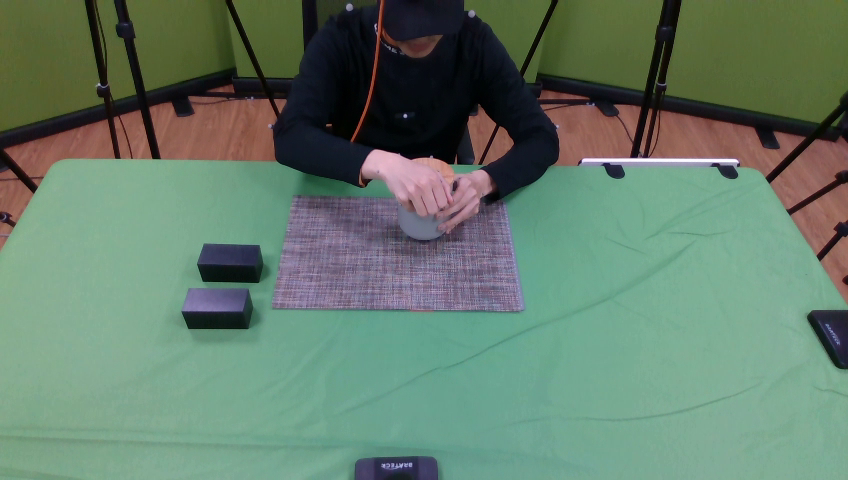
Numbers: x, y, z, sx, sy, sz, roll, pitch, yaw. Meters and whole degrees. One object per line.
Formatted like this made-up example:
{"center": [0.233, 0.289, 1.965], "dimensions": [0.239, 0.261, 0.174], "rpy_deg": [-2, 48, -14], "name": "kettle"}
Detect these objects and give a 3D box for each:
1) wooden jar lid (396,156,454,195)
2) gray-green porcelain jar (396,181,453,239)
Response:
{"center": [0.001, -0.116, 1.117], "dimensions": [0.108, 0.021, 0.107], "rpy_deg": [-1, 43, 1], "name": "wooden jar lid"}
{"center": [0.001, -0.073, 1.164], "dimensions": [0.106, 0.127, 0.105], "rpy_deg": [0, 47, 0], "name": "gray-green porcelain jar"}
